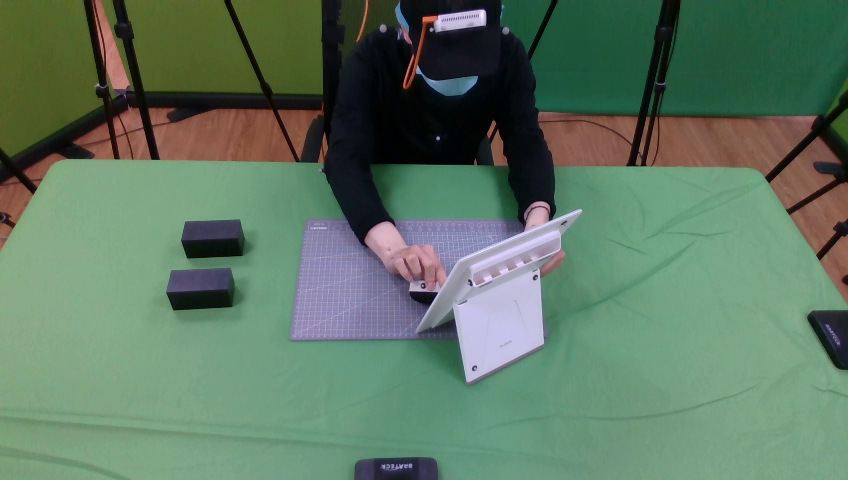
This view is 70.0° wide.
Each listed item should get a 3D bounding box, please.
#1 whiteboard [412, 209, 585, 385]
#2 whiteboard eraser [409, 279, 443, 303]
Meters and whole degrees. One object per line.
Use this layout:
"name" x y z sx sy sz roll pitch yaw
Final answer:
"whiteboard" 0.134 0.109 0.942 0.217 0.306 0.143 -20 72 -22
"whiteboard eraser" 0.034 0.089 1.053 0.112 0.056 0.041 -2 75 22
